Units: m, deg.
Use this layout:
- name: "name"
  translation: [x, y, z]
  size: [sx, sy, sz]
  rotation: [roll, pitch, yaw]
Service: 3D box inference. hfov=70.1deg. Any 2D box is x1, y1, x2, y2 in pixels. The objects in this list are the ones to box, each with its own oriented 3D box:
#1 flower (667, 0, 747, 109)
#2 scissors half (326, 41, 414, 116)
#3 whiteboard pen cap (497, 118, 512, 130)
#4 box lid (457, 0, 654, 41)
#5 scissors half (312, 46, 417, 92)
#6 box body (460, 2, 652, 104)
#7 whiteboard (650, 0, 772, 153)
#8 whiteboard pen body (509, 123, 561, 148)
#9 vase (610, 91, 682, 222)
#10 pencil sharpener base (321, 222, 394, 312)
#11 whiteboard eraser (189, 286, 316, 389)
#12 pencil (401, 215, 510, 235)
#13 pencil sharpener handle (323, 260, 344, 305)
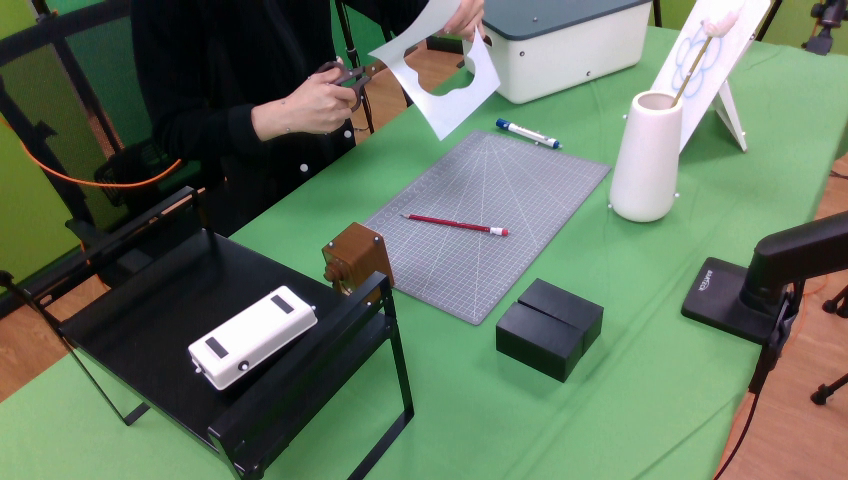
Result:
- name: "flower"
  translation: [0.354, -0.187, 0.879]
  size: [0.038, 0.362, 0.044]
  rotation: [31, 48, 14]
- name: "scissors half"
  translation: [-0.082, -0.247, 0.927]
  size: [0.175, 0.040, 0.013]
  rotation: [-37, 14, 23]
- name: "whiteboard pen cap"
  translation: [0.165, -0.235, 1.227]
  size: [0.033, 0.018, 0.018]
  rotation: [31, 53, 31]
- name: "box lid"
  translation: [0.285, -0.522, 1.323]
  size: [0.373, 0.015, 0.261]
  rotation: [-22, 43, -16]
- name: "scissors half"
  translation: [-0.093, -0.265, 0.920]
  size: [0.175, 0.040, 0.013]
  rotation: [-13, 27, 14]
- name: "box body"
  translation: [0.291, -0.465, 1.371]
  size: [0.365, 0.161, 0.252]
  rotation: [-22, 42, -16]
- name: "whiteboard"
  translation: [0.543, -0.298, 1.076]
  size: [0.144, 0.305, 0.216]
  rotation: [12, 40, -7]
- name: "whiteboard pen body"
  translation: [0.209, -0.211, 1.196]
  size: [0.139, 0.017, 0.017]
  rotation: [30, 52, 33]
- name: "vase"
  translation: [0.348, -0.125, 0.935]
  size: [0.098, 0.201, 0.097]
  rotation: [-3, 40, 3]
- name: "pencil sharpener base"
  translation: [-0.096, 0.041, 0.873]
  size: [0.061, 0.107, 0.077]
  rotation: [25, 54, 32]
- name: "whiteboard eraser"
  translation: [-0.166, 0.096, 0.593]
  size: [0.113, 0.042, 0.055]
  rotation: [-36, 47, -29]
- name: "pencil"
  translation: [0.049, -0.027, 1.007]
  size: [0.193, 0.012, 0.012]
  rotation: [10, 43, 21]
- name: "pencil sharpener handle"
  translation: [-0.131, 0.062, 0.839]
  size: [0.035, 0.068, 0.031]
  rotation: [29, 55, 28]
